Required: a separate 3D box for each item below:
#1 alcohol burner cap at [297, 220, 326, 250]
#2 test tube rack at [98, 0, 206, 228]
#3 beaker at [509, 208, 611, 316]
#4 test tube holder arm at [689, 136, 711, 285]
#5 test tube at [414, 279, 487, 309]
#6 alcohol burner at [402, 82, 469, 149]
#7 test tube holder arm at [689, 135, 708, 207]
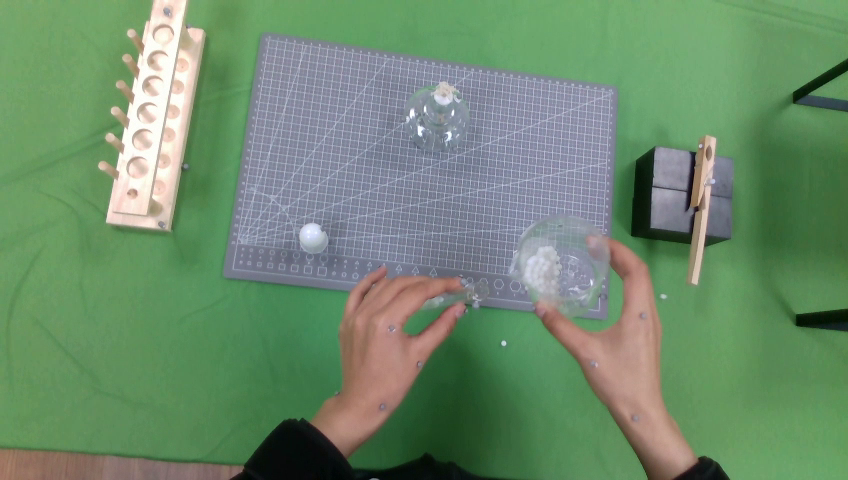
[{"bbox_3d":[-0.128,-0.008,0.679,0.034,0.048,0.033,1,81,-8],"label":"alcohol burner cap"},{"bbox_3d":[-0.301,-0.142,0.660,0.067,0.085,0.241,7,80,-6],"label":"test tube rack"},{"bbox_3d":[0.119,0.026,0.535,0.084,0.101,0.073,-18,69,6],"label":"beaker"},{"bbox_3d":[0.324,-0.036,0.709,0.013,0.015,0.178,8,81,-4],"label":"test tube holder arm"},{"bbox_3d":[0.020,0.052,0.561,0.017,0.150,0.017,4,79,-20],"label":"test tube"},{"bbox_3d":[0.015,-0.147,0.684,0.078,0.119,0.077,1,80,-5],"label":"alcohol burner"},{"bbox_3d":[0.324,-0.081,0.716,0.010,0.015,0.087,9,81,-4],"label":"test tube holder arm"}]
